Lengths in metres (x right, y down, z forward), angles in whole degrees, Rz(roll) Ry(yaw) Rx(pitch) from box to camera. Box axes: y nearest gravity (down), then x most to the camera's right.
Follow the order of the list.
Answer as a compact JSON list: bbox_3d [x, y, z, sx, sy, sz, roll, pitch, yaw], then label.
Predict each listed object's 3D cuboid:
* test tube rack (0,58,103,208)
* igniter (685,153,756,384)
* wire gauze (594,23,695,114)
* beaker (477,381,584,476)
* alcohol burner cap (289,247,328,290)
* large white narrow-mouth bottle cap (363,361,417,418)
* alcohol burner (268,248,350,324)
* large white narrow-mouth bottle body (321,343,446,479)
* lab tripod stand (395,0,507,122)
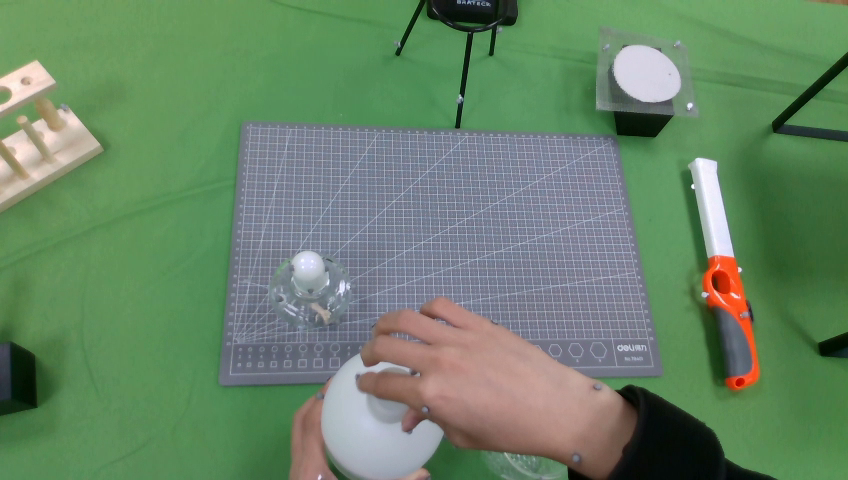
[{"bbox_3d":[-0.451,-0.068,0.581,0.242,0.085,0.066,-39,77,-21],"label":"test tube rack"},{"bbox_3d":[0.334,0.025,0.689,0.057,0.025,0.274,7,66,-16],"label":"igniter"},{"bbox_3d":[0.265,-0.207,0.735,0.121,0.011,0.124,8,66,-5],"label":"wire gauze"},{"bbox_3d":[0.089,0.175,0.550,0.084,0.101,0.073,6,65,-4],"label":"beaker"},{"bbox_3d":[-0.103,0.024,0.535,0.034,0.048,0.033,1,71,-4],"label":"alcohol burner cap"},{"bbox_3d":[-0.024,0.103,0.418,0.038,0.024,0.037,3,66,-6],"label":"large white narrow-mouth bottle cap"},{"bbox_3d":[-0.108,0.037,0.569,0.078,0.119,0.077,4,65,-8],"label":"alcohol burner"},{"bbox_3d":[-0.034,0.139,0.495,0.102,0.195,0.101,3,66,-6],"label":"large white narrow-mouth bottle body"},{"bbox_3d":[0.039,-0.233,0.698,0.149,0.132,0.147,4,67,-8],"label":"lab tripod stand"}]
